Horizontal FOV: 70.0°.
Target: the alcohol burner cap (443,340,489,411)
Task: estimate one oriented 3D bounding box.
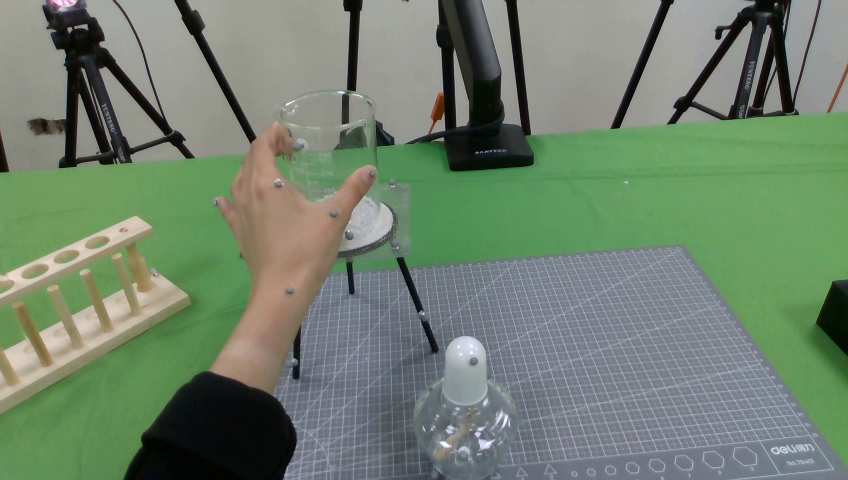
[{"bbox_3d":[0.030,0.089,0.413,0.034,0.048,0.033,0,36,0],"label":"alcohol burner cap"}]

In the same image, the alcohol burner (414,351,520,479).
[{"bbox_3d":[0.031,0.119,0.433,0.078,0.120,0.077,-1,36,1],"label":"alcohol burner"}]

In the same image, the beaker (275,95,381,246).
[{"bbox_3d":[-0.073,-0.053,0.473,0.083,0.101,0.074,18,38,26],"label":"beaker"}]

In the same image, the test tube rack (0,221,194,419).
[{"bbox_3d":[-0.346,0.079,0.553,0.066,0.086,0.242,25,43,35],"label":"test tube rack"}]

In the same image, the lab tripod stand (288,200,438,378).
[{"bbox_3d":[-0.059,0.041,0.537,0.148,0.132,0.147,-1,33,1],"label":"lab tripod stand"}]

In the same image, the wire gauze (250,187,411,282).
[{"bbox_3d":[-0.071,-0.011,0.498,0.121,0.011,0.124,-3,37,0],"label":"wire gauze"}]

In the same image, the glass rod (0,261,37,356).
[{"bbox_3d":[-0.372,0.019,0.525,0.008,0.201,0.008,-2,27,1],"label":"glass rod"}]
